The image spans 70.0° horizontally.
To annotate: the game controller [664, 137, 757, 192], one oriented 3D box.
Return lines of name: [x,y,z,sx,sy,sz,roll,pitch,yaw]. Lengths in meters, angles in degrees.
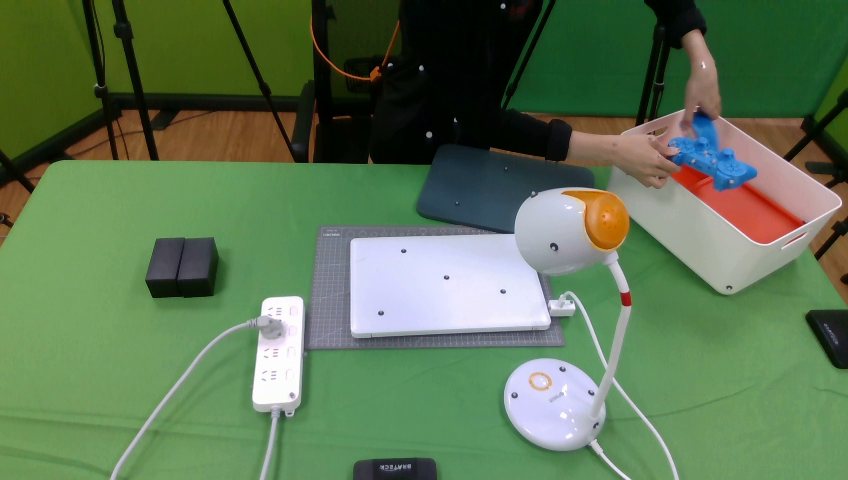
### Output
game controller: [0.508,-0.146,1.086,0.097,0.052,0.154,-34,52,-28]

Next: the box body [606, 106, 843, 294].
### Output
box body: [0.582,-0.088,1.230,0.254,0.161,0.361,-22,52,-23]

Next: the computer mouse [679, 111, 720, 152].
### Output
computer mouse: [0.555,-0.199,1.206,0.063,0.041,0.117,-23,94,-29]

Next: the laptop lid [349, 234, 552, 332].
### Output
laptop lid: [0.040,0.071,1.118,0.357,0.013,0.240,0,44,-5]

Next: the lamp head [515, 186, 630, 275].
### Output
lamp head: [0.188,-0.013,0.728,0.112,0.112,0.122,-25,9,-25]

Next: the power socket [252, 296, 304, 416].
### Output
power socket: [-0.238,0.181,0.997,0.072,0.033,0.225,-3,47,-5]

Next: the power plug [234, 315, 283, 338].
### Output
power plug: [-0.269,0.143,1.000,0.072,0.053,0.035,4,47,3]

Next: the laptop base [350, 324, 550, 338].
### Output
laptop base: [0.039,0.081,1.125,0.355,0.023,0.234,-2,43,-6]

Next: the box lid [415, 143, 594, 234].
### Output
box lid: [0.185,-0.106,1.322,0.371,0.015,0.262,12,46,7]

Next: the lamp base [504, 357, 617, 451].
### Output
lamp base: [0.220,0.211,0.903,0.160,0.181,0.178,-33,59,-30]

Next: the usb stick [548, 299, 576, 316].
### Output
usb stick: [0.239,0.121,1.084,0.059,0.027,0.021,-1,51,-1]
